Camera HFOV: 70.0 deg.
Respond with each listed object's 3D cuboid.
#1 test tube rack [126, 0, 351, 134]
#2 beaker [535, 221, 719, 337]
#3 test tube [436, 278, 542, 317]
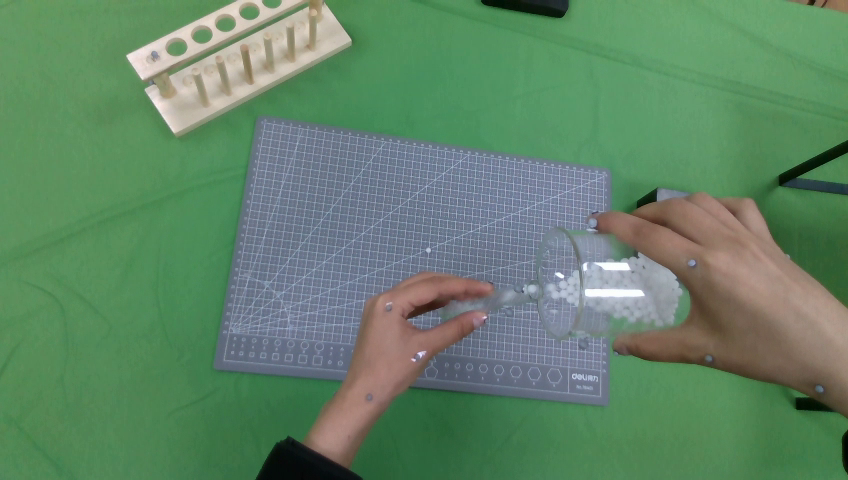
[{"bbox_3d":[-0.202,-0.223,0.698,0.242,0.085,0.066,-34,84,-16],"label":"test tube rack"},{"bbox_3d":[0.132,0.028,0.404,0.100,0.084,0.073,2,80,-11],"label":"beaker"},{"bbox_3d":[0.048,0.050,0.497,0.017,0.150,0.017,6,76,-25],"label":"test tube"}]
